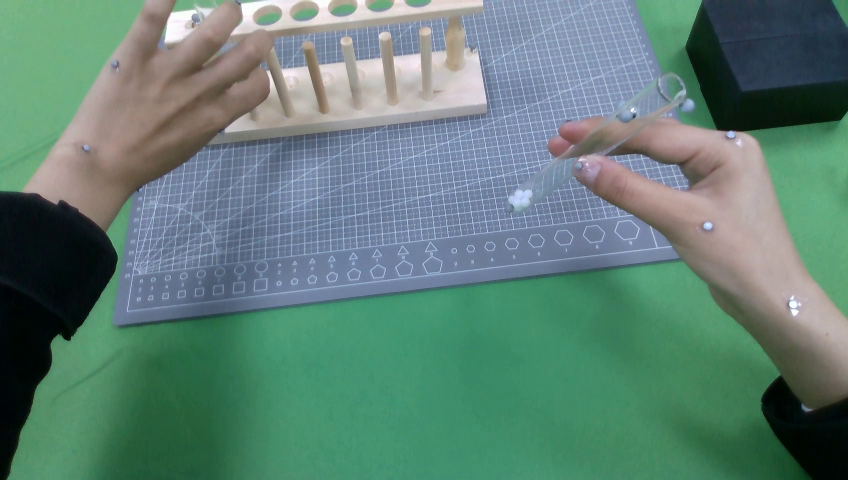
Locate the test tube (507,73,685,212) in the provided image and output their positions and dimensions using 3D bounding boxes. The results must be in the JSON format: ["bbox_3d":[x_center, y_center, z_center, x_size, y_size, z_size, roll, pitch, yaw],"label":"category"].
[{"bbox_3d":[0.085,-0.046,0.334,0.017,0.150,0.017,7,70,-19],"label":"test tube"}]

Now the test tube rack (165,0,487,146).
[{"bbox_3d":[-0.073,-0.143,0.492,0.242,0.086,0.066,-7,61,1],"label":"test tube rack"}]

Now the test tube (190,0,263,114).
[{"bbox_3d":[-0.146,-0.146,0.435,0.017,0.152,0.017,-3,60,5],"label":"test tube"}]
